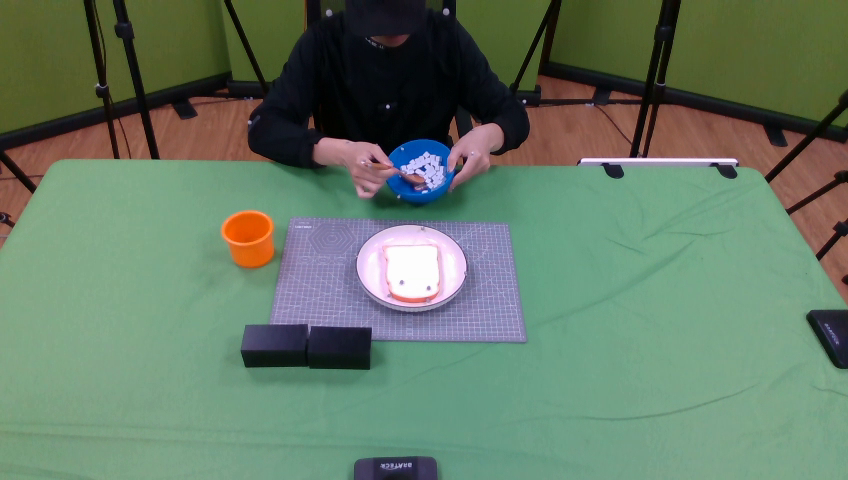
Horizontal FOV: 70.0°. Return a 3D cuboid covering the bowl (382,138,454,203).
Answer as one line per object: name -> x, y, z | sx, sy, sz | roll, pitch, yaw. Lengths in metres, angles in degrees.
bowl -> -0.007, -0.131, 1.268 | 0.151, 0.077, 0.150 | -5, 57, 7

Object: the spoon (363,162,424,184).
spoon -> -0.061, -0.138, 1.212 | 0.041, 0.021, 0.194 | 33, 11, 31

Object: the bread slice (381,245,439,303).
bread slice -> -0.022, 0.061, 1.126 | 0.107, 0.018, 0.133 | -3, 45, -8

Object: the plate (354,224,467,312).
plate -> -0.025, 0.055, 1.128 | 0.209, 0.038, 0.208 | 3, 46, -2
